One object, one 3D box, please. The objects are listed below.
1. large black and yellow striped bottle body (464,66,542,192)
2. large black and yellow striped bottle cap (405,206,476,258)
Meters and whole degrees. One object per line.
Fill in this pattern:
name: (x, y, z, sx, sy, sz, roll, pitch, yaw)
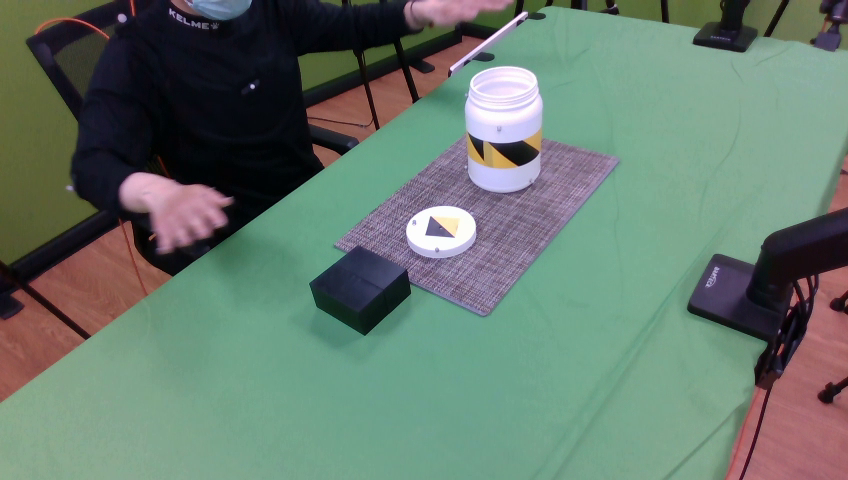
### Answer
large black and yellow striped bottle body: (0.137, -0.190, 1.040, 0.131, 0.185, 0.130, -4, 41, 4)
large black and yellow striped bottle cap: (0.027, -0.015, 0.981, 0.115, 0.019, 0.114, -3, 41, 3)
